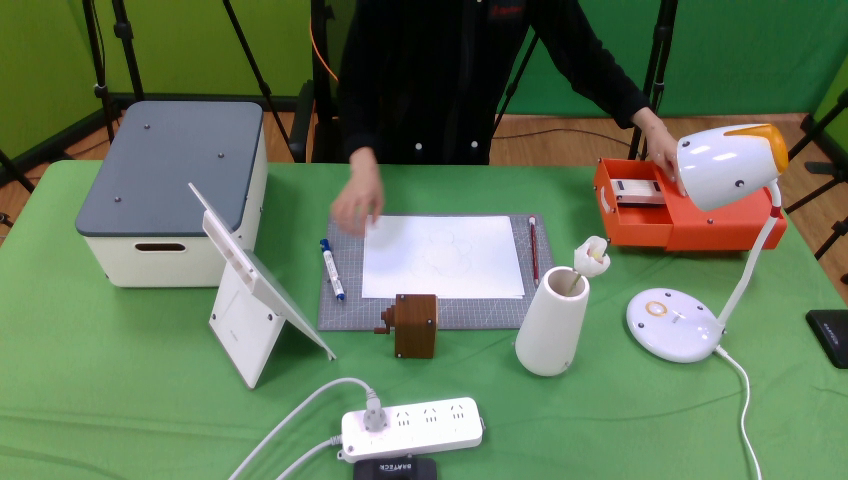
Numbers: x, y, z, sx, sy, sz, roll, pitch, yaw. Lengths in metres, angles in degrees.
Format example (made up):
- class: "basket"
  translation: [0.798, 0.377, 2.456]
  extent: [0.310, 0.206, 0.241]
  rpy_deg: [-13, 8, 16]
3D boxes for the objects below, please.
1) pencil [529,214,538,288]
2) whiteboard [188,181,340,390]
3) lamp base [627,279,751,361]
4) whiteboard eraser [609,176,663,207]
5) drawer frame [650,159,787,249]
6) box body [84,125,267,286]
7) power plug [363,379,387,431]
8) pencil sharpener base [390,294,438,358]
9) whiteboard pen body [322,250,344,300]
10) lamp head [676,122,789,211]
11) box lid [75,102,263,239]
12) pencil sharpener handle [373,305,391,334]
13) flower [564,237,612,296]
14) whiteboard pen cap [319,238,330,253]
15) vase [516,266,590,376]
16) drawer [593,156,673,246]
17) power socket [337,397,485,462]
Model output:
- class: "pencil"
  translation: [0.218, 0.019, 1.202]
  extent: [0.012, 0.012, 0.193]
  rpy_deg: [5, 48, 1]
- class: "whiteboard"
  translation: [-0.292, 0.096, 0.929]
  extent: [0.144, 0.307, 0.216]
  rpy_deg: [-38, 57, -10]
- class: "lamp base"
  translation: [0.459, 0.100, 1.027]
  extent: [0.178, 0.181, 0.160]
  rpy_deg: [27, 51, 17]
- class: "whiteboard eraser"
  translation: [0.431, -0.098, 1.241]
  extent: [0.113, 0.042, 0.055]
  rpy_deg: [5, 54, -10]
- class: "drawer frame"
  translation: [0.566, -0.075, 1.209]
  extent: [0.213, 0.083, 0.200]
  rpy_deg: [0, 45, 2]
- class: "box body"
  translation: [-0.446, -0.088, 1.150]
  extent: [0.254, 0.161, 0.361]
  rpy_deg: [-1, 46, -5]
- class: "power plug"
  translation: [-0.072, 0.252, 0.910]
  extent: [0.035, 0.053, 0.072]
  rpy_deg: [3, 45, -1]
- class: "pencil sharpener base"
  translation: [-0.018, 0.143, 1.000]
  extent: [0.077, 0.107, 0.061]
  rpy_deg: [1, 46, -2]
- class: "whiteboard pen body"
  translation: [-0.173, 0.056, 1.127]
  extent: [0.017, 0.017, 0.140]
  rpy_deg: [-12, 49, -16]
- class: "lamp head"
  translation: [0.423, -0.104, 0.819]
  extent: [0.122, 0.113, 0.112]
  rpy_deg: [-13, 33, 40]
- class: "box lid"
  translation: [-0.443, -0.138, 1.094]
  extent: [0.263, 0.015, 0.369]
  rpy_deg: [-1, 47, -5]
- class: "pencil sharpener handle"
  translation: [-0.069, 0.133, 0.989]
  extent: [0.030, 0.068, 0.036]
  rpy_deg: [1, 47, -2]
- class: "flower"
  translation: [0.206, 0.088, 0.893]
  extent: [0.038, 0.363, 0.044]
  rpy_deg: [-16, 67, -9]
- class: "whiteboard pen cap"
  translation: [-0.190, 0.013, 1.163]
  extent: [0.018, 0.018, 0.033]
  rpy_deg: [-13, 49, -16]
- class: "vase"
  translation: [0.208, 0.132, 0.964]
  extent: [0.098, 0.201, 0.097]
  rpy_deg: [3, 46, -3]
- class: "drawer"
  translation: [0.460, -0.077, 1.207]
  extent: [0.212, 0.073, 0.193]
  rpy_deg: [3, 46, -2]
- class: "power socket"
  translation: [-0.018, 0.285, 0.915]
  extent: [0.227, 0.033, 0.071]
  rpy_deg: [-5, 46, -8]
